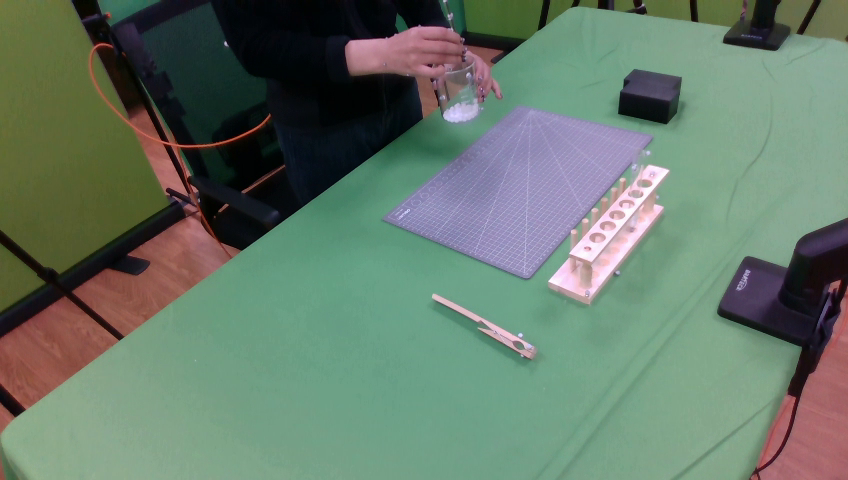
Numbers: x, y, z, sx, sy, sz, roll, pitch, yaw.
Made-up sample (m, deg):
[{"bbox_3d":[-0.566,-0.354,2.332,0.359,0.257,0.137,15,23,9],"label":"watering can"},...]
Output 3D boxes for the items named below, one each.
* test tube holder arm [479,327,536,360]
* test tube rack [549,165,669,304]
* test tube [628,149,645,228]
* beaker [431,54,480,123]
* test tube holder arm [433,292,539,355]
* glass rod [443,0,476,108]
[{"bbox_3d":[0.110,0.134,0.805,0.087,0.015,0.010,29,83,36],"label":"test tube holder arm"},{"bbox_3d":[0.279,-0.018,0.902,0.066,0.085,0.243,24,50,33],"label":"test tube rack"},{"bbox_3d":[0.309,-0.071,0.882,0.017,0.151,0.017,-7,46,8],"label":"test tube"},{"bbox_3d":[0.056,-0.261,1.055,0.084,0.101,0.073,-28,40,-19],"label":"beaker"},{"bbox_3d":[0.081,0.113,0.832,0.177,0.015,0.013,28,82,36],"label":"test tube holder arm"},{"bbox_3d":[0.062,-0.308,1.015,0.008,0.201,0.008,-13,42,12],"label":"glass rod"}]
